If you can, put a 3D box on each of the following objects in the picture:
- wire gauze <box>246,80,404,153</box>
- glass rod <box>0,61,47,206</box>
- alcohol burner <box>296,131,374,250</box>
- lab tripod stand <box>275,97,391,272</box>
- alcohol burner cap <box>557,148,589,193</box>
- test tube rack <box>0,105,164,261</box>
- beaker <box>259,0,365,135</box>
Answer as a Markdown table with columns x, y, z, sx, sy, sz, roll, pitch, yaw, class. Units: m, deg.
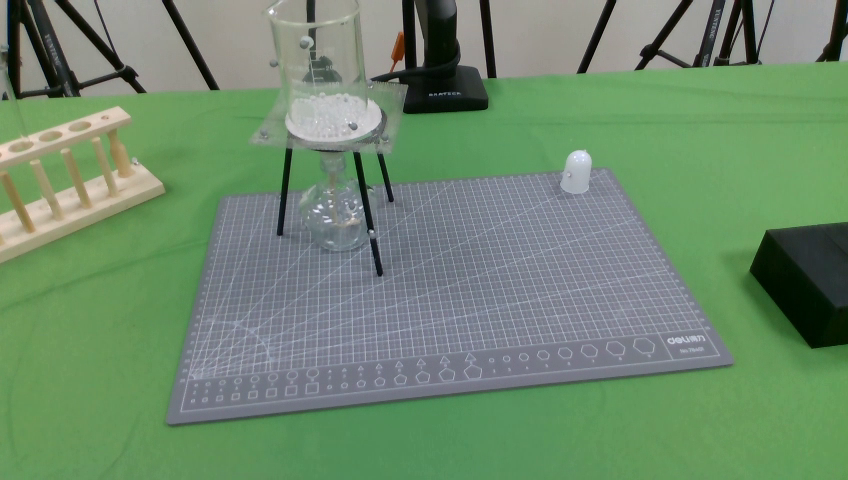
| x | y | z | sx | sy | sz | roll | pitch | yaw | class |
| --- | --- | --- | --- | --- | --- | --- | --- | --- | --- |
| -0.084 | -0.114 | 0.544 | 0.125 | 0.011 | 0.120 | 1 | 39 | 7 | wire gauze |
| -0.403 | -0.121 | 0.597 | 0.008 | 0.201 | 0.008 | 2 | 33 | -1 | glass rod |
| -0.088 | -0.050 | 0.587 | 0.078 | 0.120 | 0.077 | -1 | 38 | 1 | alcohol burner |
| -0.081 | -0.057 | 0.579 | 0.148 | 0.133 | 0.147 | -1 | 42 | 1 | lab tripod stand |
| 0.167 | -0.081 | 0.677 | 0.034 | 0.048 | 0.033 | 0 | 40 | 0 | alcohol burner cap |
| -0.404 | -0.048 | 0.612 | 0.242 | 0.086 | 0.066 | -32 | 49 | -32 | test tube rack |
| -0.090 | -0.147 | 0.507 | 0.084 | 0.101 | 0.073 | 7 | 41 | 9 | beaker |
